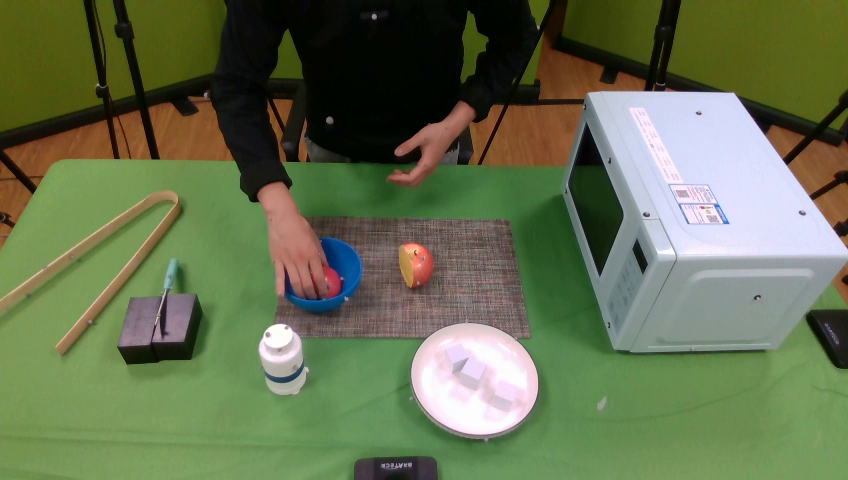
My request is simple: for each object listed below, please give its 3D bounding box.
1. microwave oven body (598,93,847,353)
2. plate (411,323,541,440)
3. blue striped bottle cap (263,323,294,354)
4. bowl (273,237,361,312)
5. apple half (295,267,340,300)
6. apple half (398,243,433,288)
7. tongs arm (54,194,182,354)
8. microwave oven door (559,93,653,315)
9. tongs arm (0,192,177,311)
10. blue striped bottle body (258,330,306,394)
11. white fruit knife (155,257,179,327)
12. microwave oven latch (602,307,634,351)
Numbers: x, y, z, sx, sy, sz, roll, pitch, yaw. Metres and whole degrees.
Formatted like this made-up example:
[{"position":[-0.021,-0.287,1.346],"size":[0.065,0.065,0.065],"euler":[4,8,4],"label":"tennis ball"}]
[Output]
[{"position":[0.475,-0.041,1.109],"size":[0.326,0.261,0.438],"euler":[-1,45,-4],"label":"microwave oven body"},{"position":[0.082,0.228,0.976],"size":[0.208,0.039,0.206],"euler":[2,45,-2],"label":"plate"},{"position":[-0.217,0.146,0.900],"size":[0.044,0.021,0.044],"euler":[1,46,-1],"label":"blue striped bottle cap"},{"position":[-0.185,0.074,1.070],"size":[0.151,0.077,0.150],"euler":[3,46,-2],"label":"bowl"},{"position":[-0.186,0.070,1.064],"size":[0.081,0.033,0.081],"euler":[6,45,-5],"label":"apple half"},{"position":[-0.012,0.046,1.115],"size":[0.053,0.075,0.080],"euler":[-11,44,-19],"label":"apple half"},{"position":[-0.543,0.048,1.107],"size":[0.028,0.028,0.385],"euler":[11,45,10],"label":"tongs arm"},{"position":[0.327,-0.074,1.123],"size":[0.039,0.245,0.353],"euler":[-1,46,-5],"label":"microwave oven door"},{"position":[-0.618,0.019,1.123],"size":[0.050,0.026,0.384],"euler":[23,47,17],"label":"tongs arm"},{"position":[-0.220,0.182,0.937],"size":[0.063,0.121,0.062],"euler":[2,46,-2],"label":"blue striped bottle body"},{"position":[-0.440,0.085,1.037],"size":[0.016,0.027,0.206],"euler":[10,26,-19],"label":"white fruit knife"},{"position":[0.332,0.153,1.044],"size":[0.030,0.029,0.078],"euler":[-1,45,-4],"label":"microwave oven latch"}]
